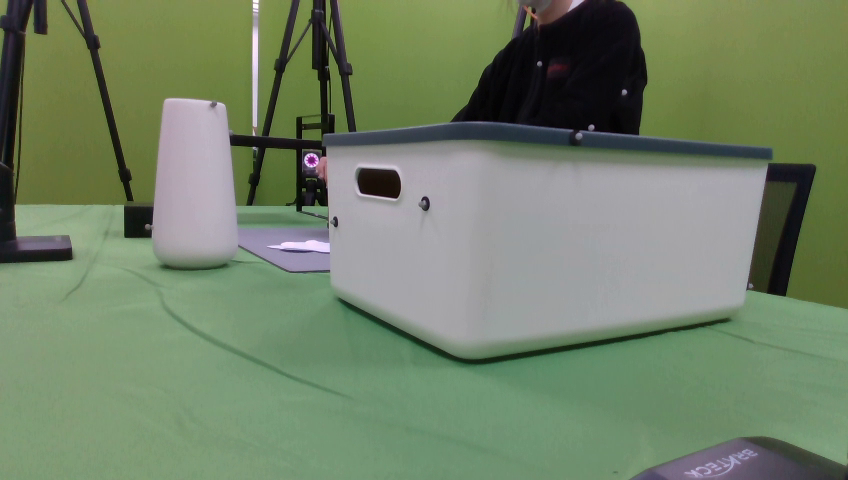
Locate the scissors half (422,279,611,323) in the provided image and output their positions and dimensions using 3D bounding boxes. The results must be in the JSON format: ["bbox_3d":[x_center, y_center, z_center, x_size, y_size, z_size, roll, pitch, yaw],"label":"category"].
[{"bbox_3d":[0.073,0.057,0.524,0.174,0.040,0.013,5,39,30],"label":"scissors half"}]

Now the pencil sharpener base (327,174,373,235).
[{"bbox_3d":[-0.139,-0.067,1.122,0.062,0.107,0.076,0,7,-31],"label":"pencil sharpener base"}]

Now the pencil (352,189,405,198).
[{"bbox_3d":[-0.083,-0.080,1.030,0.012,0.012,0.193,-2,7,-31],"label":"pencil"}]

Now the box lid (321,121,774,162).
[{"bbox_3d":[0.113,-0.085,0.573,0.373,0.015,0.262,-2,7,-33],"label":"box lid"}]

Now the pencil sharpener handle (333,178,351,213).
[{"bbox_3d":[-0.161,-0.085,1.166,0.036,0.068,0.030,-14,14,-29],"label":"pencil sharpener handle"}]

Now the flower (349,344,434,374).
[{"bbox_3d":[0.103,0.072,0.592,0.362,0.044,0.038,-17,44,-9],"label":"flower"}]

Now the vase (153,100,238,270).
[{"bbox_3d":[-0.278,-0.066,0.736,0.098,0.200,0.098,2,9,0],"label":"vase"}]

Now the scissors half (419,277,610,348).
[{"bbox_3d":[0.076,0.067,0.533,0.174,0.040,0.013,14,50,24],"label":"scissors half"}]

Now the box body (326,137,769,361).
[{"bbox_3d":[0.112,-0.010,0.583,0.366,0.160,0.253,-2,9,-33],"label":"box body"}]
